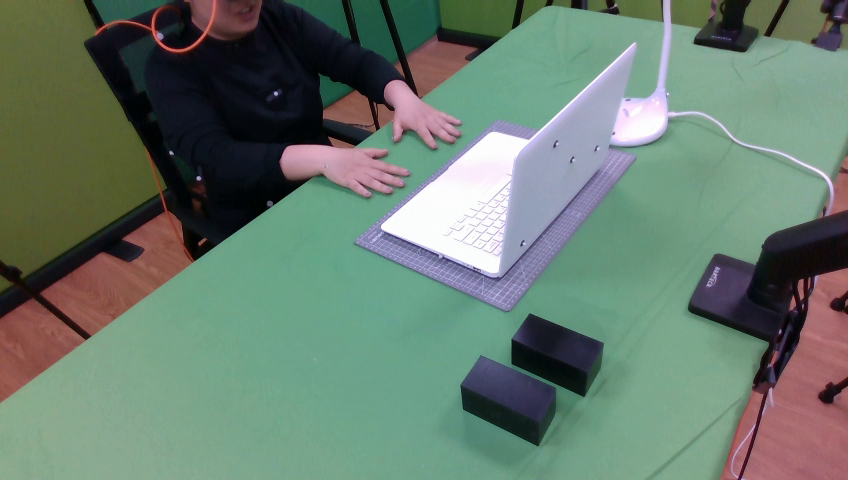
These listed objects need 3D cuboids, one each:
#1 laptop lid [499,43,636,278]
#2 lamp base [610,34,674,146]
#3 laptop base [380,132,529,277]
[{"bbox_3d":[0.217,-0.122,0.898,0.013,0.242,0.358,28,50,25],"label":"laptop lid"},{"bbox_3d":[0.392,-0.291,1.129,0.180,0.181,0.159,-11,41,-8],"label":"lamp base"},{"bbox_3d":[0.122,-0.077,1.043,0.233,0.023,0.355,20,47,33],"label":"laptop base"}]
